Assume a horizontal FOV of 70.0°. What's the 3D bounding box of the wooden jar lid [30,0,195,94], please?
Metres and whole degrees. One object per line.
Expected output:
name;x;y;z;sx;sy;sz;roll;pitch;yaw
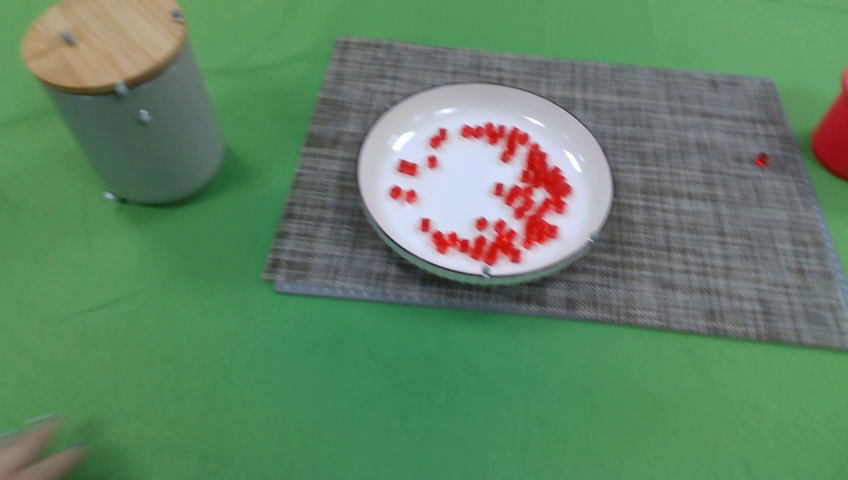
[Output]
wooden jar lid;-0.215;-0.138;0.425;0.108;0.021;0.107;1;57;-1

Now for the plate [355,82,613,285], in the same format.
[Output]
plate;0.048;-0.047;0.502;0.208;0.039;0.205;1;55;-2

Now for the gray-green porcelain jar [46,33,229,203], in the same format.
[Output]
gray-green porcelain jar;-0.217;-0.100;0.478;0.106;0.127;0.105;1;55;-2

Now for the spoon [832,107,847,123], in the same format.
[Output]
spoon;0.429;-0.104;0.490;0.042;0.022;0.192;-18;18;-19
